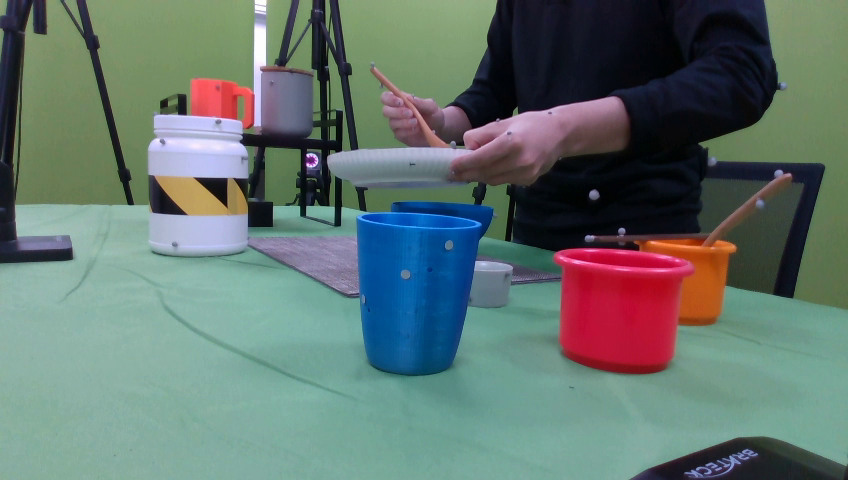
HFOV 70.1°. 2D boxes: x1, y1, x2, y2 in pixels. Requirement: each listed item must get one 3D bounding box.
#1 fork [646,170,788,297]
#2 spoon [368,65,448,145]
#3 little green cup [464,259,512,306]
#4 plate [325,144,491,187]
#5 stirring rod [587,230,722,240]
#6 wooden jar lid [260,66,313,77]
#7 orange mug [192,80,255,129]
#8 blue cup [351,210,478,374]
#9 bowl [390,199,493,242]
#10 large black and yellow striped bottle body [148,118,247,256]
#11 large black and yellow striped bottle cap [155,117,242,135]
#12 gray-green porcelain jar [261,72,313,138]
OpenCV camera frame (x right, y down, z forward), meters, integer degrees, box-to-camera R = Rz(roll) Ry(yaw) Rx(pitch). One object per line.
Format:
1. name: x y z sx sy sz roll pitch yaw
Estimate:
1. fork: 0.256 0.004 0.543 0.028 0.018 0.207 3 -36 -9
2. spoon: -0.018 -0.186 0.872 0.021 0.193 0.041 -36 -14 -8
3. little green cup: 0.057 0.043 0.611 0.061 0.038 0.061 3 8 0
4. plate: -0.019 -0.090 0.761 0.209 0.038 0.209 -1 2 0
5. stirring rod: 0.227 -0.006 0.585 0.177 0.006 0.014 -2 7 -28
6. wooden jar lid: -0.283 -0.339 1.244 0.108 0.020 0.108 6 9 -1
7. orange mug: -0.389 -0.257 1.172 0.126 0.100 0.083 -1 6 10
8. blue cup: -0.009 0.034 0.414 0.093 0.100 0.092 4 8 0
9. bowl: 0.023 -0.016 0.874 0.151 0.077 0.151 3 5 0
10. large black and yellow striped bottle body: -0.318 -0.076 0.855 0.131 0.184 0.130 2 7 0
11. large black and yellow striped bottle cap: -0.313 -0.159 0.845 0.115 0.019 0.115 3 9 0
12. gray-green porcelain jar: -0.284 -0.276 1.253 0.106 0.126 0.106 2 8 0
